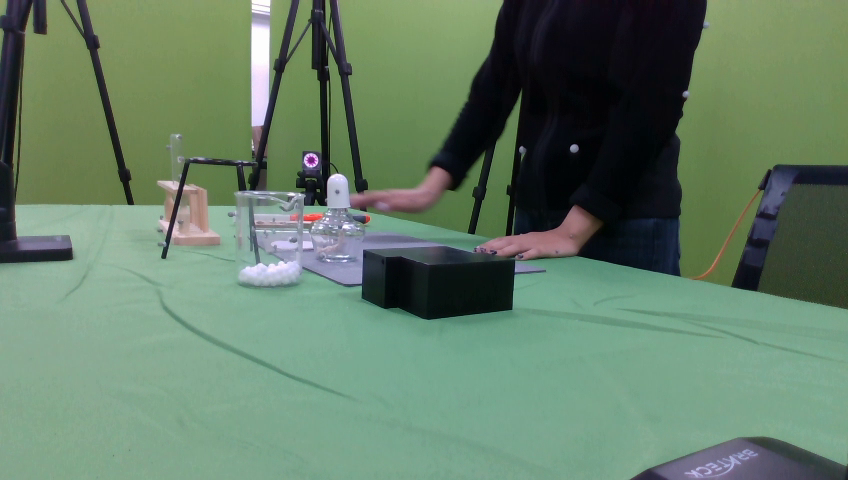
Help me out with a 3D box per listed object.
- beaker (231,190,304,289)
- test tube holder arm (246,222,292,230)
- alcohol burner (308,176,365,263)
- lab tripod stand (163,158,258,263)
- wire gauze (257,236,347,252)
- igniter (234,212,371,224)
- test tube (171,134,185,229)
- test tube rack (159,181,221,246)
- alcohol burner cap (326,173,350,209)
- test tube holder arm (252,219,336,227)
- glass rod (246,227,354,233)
[{"bbox_3d":[-0.167,-0.001,0.653,0.074,0.100,0.083,-4,10,-40],"label":"beaker"},{"bbox_3d":[-0.291,-0.026,1.130,0.088,0.015,0.010,-1,45,-30],"label":"test tube holder arm"},{"bbox_3d":[-0.117,-0.030,0.813,0.078,0.119,0.078,3,9,0],"label":"alcohol burner"},{"bbox_3d":[-0.265,-0.041,0.802,0.148,0.131,0.148,4,7,0],"label":"lab tripod stand"},{"bbox_3d":[-0.189,0.006,0.931,0.122,0.011,0.124,1,7,-21],"label":"wire gauze"},{"bbox_3d":[-0.245,-0.045,1.248,0.278,0.025,0.057,-1,-3,-25],"label":"igniter"},{"bbox_3d":[-0.390,-0.092,0.963,0.017,0.150,0.017,-1,4,0],"label":"test tube"},{"bbox_3d":[-0.395,-0.049,1.010,0.067,0.085,0.241,-2,8,-28],"label":"test tube rack"},{"bbox_3d":[-0.116,-0.065,0.808,0.034,0.048,0.034,-3,10,1],"label":"alcohol burner cap"},{"bbox_3d":[-0.254,-0.031,1.157,0.179,0.015,0.013,-3,46,-31],"label":"test tube holder arm"},{"bbox_3d":[-0.224,-0.017,1.109,0.201,0.008,0.008,1,7,-27],"label":"glass rod"}]
